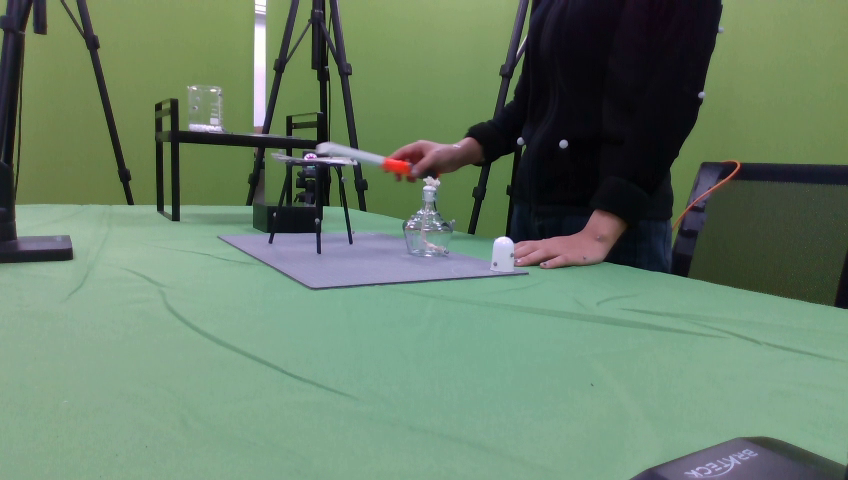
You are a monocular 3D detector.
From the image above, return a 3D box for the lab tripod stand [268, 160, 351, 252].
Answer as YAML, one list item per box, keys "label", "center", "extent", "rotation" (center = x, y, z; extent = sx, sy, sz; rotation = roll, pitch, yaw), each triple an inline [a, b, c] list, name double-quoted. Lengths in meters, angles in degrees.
- label: "lab tripod stand"
  center: [-0.172, -0.055, 0.922]
  extent: [0.148, 0.131, 0.148]
  rotation: [1, 9, 0]

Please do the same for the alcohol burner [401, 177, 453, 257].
- label: "alcohol burner"
  center: [0.006, -0.035, 0.903]
  extent: [0.078, 0.119, 0.078]
  rotation: [4, 6, 0]

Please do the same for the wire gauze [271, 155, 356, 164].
- label: "wire gauze"
  center: [-0.167, -0.122, 0.917]
  extent: [0.125, 0.011, 0.121]
  rotation: [0, 7, -9]

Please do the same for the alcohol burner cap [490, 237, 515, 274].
- label: "alcohol burner cap"
  center: [0.104, 0.020, 0.793]
  extent: [0.034, 0.048, 0.034]
  rotation: [2, 6, 0]

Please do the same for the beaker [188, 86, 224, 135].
- label: "beaker"
  center: [-0.474, -0.280, 1.311]
  extent: [0.074, 0.100, 0.084]
  rotation: [5, 8, 26]

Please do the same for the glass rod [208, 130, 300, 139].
- label: "glass rod"
  center: [-0.367, -0.231, 1.321]
  extent: [0.201, 0.008, 0.008]
  rotation: [-1, 8, -30]

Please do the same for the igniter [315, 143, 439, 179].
- label: "igniter"
  center: [-0.081, -0.148, 1.150]
  extent: [0.278, 0.025, 0.057]
  rotation: [7, -2, -43]
